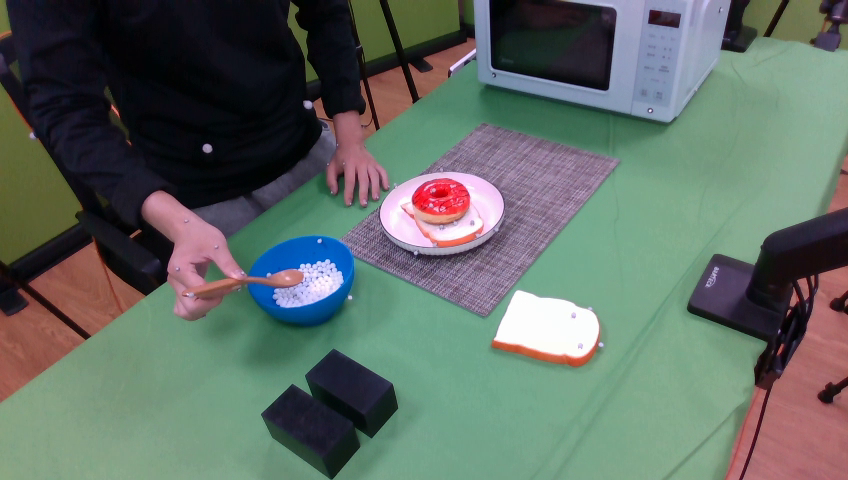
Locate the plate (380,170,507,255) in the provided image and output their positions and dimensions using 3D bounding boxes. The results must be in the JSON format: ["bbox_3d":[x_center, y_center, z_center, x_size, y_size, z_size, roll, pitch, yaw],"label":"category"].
[{"bbox_3d":[0.033,-0.042,0.995,0.207,0.039,0.206,-4,40,4],"label":"plate"}]

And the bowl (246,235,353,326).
[{"bbox_3d":[-0.170,0.070,0.868,0.151,0.077,0.150,-4,41,4],"label":"bowl"}]

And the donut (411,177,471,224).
[{"bbox_3d":[0.028,-0.064,0.978,0.099,0.048,0.098,-4,39,4],"label":"donut"}]

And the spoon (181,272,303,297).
[{"bbox_3d":[-0.223,0.054,0.757,0.041,0.021,0.195,17,7,27],"label":"spoon"}]

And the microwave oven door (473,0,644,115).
[{"bbox_3d":[0.257,-0.396,1.199,0.353,0.245,0.039,21,48,29],"label":"microwave oven door"}]

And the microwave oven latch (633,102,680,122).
[{"bbox_3d":[0.444,-0.249,1.157,0.078,0.029,0.030,21,49,30],"label":"microwave oven latch"}]

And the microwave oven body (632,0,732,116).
[{"bbox_3d":[0.377,-0.462,1.267,0.438,0.261,0.327,21,48,30],"label":"microwave oven body"}]

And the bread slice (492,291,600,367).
[{"bbox_3d":[0.169,0.118,0.811,0.131,0.019,0.105,11,45,22],"label":"bread slice"}]

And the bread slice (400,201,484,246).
[{"bbox_3d":[0.037,-0.037,0.990,0.107,0.018,0.133,-23,42,-17],"label":"bread slice"}]
